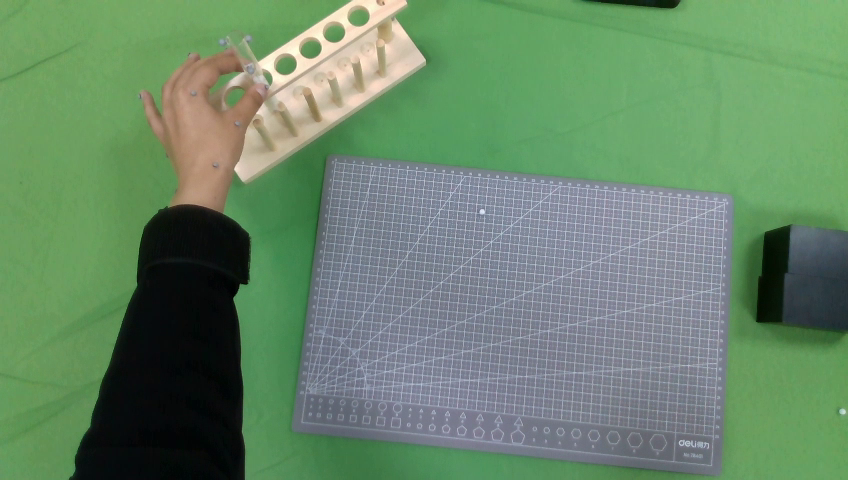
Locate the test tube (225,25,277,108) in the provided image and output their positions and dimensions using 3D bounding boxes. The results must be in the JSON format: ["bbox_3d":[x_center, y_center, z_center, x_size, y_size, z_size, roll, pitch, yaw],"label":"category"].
[{"bbox_3d":[-0.163,-0.162,0.586,0.017,0.150,0.017,0,80,-2],"label":"test tube"}]

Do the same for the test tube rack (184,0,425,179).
[{"bbox_3d":[-0.117,-0.167,0.636,0.242,0.085,0.066,-35,83,-4],"label":"test tube rack"}]
